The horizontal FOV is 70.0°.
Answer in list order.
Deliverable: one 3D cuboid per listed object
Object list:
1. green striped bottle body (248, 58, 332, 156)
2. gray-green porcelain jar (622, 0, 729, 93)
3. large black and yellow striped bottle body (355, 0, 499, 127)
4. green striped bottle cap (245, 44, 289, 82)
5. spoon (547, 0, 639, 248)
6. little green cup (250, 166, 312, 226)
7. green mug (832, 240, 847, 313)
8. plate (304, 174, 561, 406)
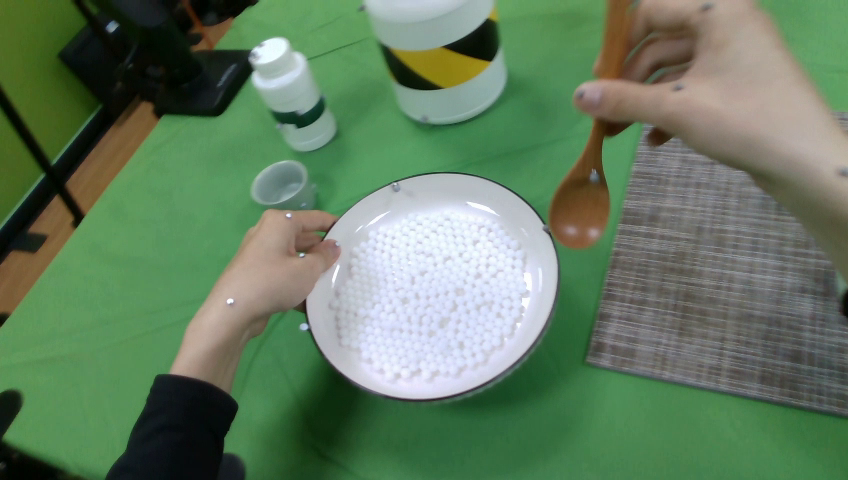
[{"bbox_3d":[-0.155,-0.158,0.689,0.063,0.120,0.062,-9,52,12],"label":"green striped bottle body"},{"bbox_3d":[0.246,-0.222,0.608,0.105,0.128,0.105,-8,52,11],"label":"gray-green porcelain jar"},{"bbox_3d":[0.004,-0.229,0.650,0.130,0.186,0.129,-8,52,12],"label":"large black and yellow striped bottle body"},{"bbox_3d":[-0.168,-0.189,0.649,0.044,0.020,0.044,-6,55,10],"label":"green striped bottle cap"},{"bbox_3d":[0.107,-0.076,0.364,0.041,0.195,0.021,8,40,6],"label":"spoon"},{"bbox_3d":[-0.153,-0.046,0.656,0.061,0.039,0.061,-9,51,11],"label":"little green cup"},{"bbox_3d":[0.353,0.018,0.402,0.124,0.106,0.092,31,67,33],"label":"green mug"},{"bbox_3d":[0.007,0.038,0.496,0.209,0.038,0.207,-6,57,10],"label":"plate"}]
